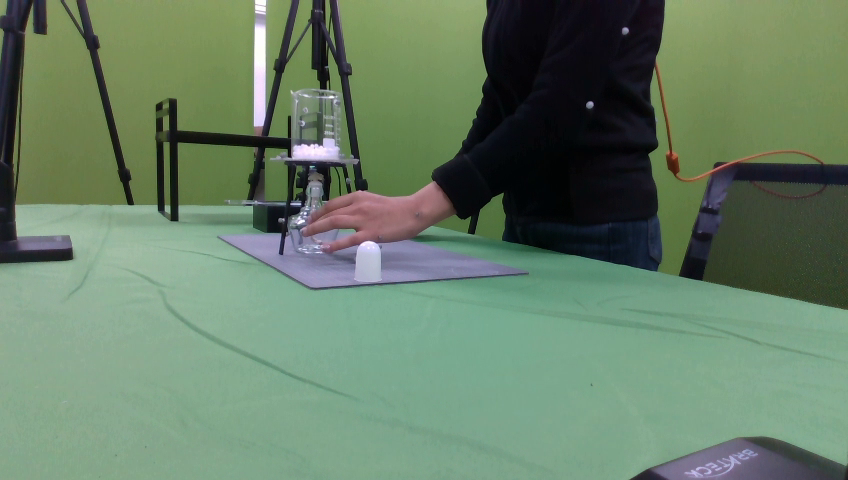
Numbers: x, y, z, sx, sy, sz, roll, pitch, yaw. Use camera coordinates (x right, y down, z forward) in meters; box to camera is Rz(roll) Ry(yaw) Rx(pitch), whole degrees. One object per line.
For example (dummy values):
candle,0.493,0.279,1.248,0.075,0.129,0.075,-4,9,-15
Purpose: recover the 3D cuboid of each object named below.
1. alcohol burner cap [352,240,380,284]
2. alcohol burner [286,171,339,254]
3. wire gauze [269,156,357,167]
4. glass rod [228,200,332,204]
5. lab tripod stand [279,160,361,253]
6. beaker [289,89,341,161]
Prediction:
alcohol burner cap,-0.066,0.024,0.690,0.034,0.048,0.034,3,9,0
alcohol burner,-0.162,-0.041,0.883,0.078,0.119,0.078,2,6,0
wire gauze,-0.160,-0.116,0.886,0.122,0.011,0.125,2,4,-9
glass rod,-0.269,-0.071,1.149,0.201,0.008,0.008,-1,8,-30
lab tripod stand,-0.166,-0.052,0.897,0.148,0.131,0.148,0,7,0
beaker,-0.161,-0.164,0.879,0.073,0.100,0.084,6,8,34
